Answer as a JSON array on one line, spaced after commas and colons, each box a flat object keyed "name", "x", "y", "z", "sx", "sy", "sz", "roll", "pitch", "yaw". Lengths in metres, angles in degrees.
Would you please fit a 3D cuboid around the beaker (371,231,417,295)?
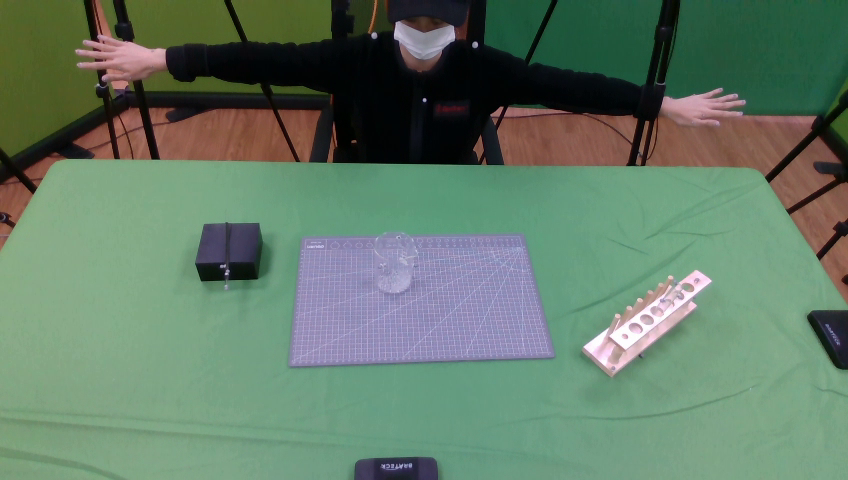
[{"name": "beaker", "x": -0.054, "y": 0.045, "z": 1.093, "sx": 0.084, "sy": 0.101, "sz": 0.073, "roll": 17, "pitch": 47, "yaw": 10}]

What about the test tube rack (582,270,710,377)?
[{"name": "test tube rack", "x": 0.389, "y": 0.132, "z": 1.057, "sx": 0.242, "sy": 0.085, "sz": 0.066, "roll": -28, "pitch": 54, "yaw": -28}]

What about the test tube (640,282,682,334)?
[{"name": "test tube", "x": 0.389, "y": 0.116, "z": 1.002, "sx": 0.017, "sy": 0.151, "sz": 0.017, "roll": 2, "pitch": 53, "yaw": -3}]

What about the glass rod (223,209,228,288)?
[{"name": "glass rod", "x": -0.360, "y": 0.010, "z": 1.098, "sx": 0.008, "sy": 0.008, "sz": 0.198, "roll": -7, "pitch": 47, "yaw": -12}]
